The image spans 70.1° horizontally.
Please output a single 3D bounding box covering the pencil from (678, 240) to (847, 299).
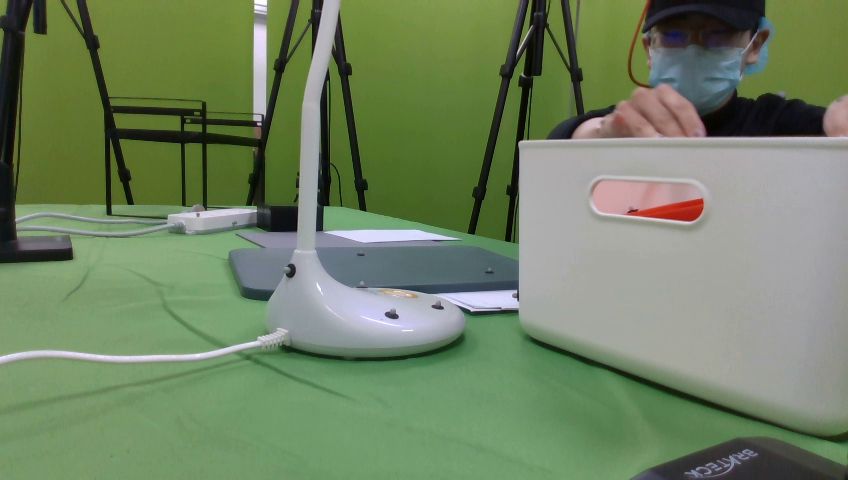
[{"bbox_3d":[0.249,0.017,0.464,0.012,0.012,0.193,1,9,-8],"label":"pencil"}]

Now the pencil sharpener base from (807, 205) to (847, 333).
[{"bbox_3d":[0.385,0.026,0.518,0.062,0.107,0.076,-4,10,-43],"label":"pencil sharpener base"}]

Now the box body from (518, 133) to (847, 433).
[{"bbox_3d":[0.278,0.005,0.485,0.366,0.160,0.253,-3,9,-36],"label":"box body"}]

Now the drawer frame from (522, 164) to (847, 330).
[{"bbox_3d":[0.224,0.002,0.466,0.215,0.082,0.200,-13,1,-36],"label":"drawer frame"}]

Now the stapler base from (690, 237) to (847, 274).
[{"bbox_3d":[0.271,0.012,0.488,0.041,0.024,0.130,-14,2,-19],"label":"stapler base"}]

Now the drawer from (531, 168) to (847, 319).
[{"bbox_3d":[0.225,0.003,0.469,0.213,0.073,0.193,-12,0,-36],"label":"drawer"}]

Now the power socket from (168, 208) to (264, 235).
[{"bbox_3d":[-0.381,-0.038,1.129,0.072,0.032,0.227,4,8,17],"label":"power socket"}]

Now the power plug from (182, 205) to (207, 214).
[{"bbox_3d":[-0.456,-0.041,1.195,0.052,0.035,0.072,0,40,24],"label":"power plug"}]

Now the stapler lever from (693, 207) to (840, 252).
[{"bbox_3d":[0.267,-0.011,0.486,0.027,0.040,0.117,-14,1,-19],"label":"stapler lever"}]

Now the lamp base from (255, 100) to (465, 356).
[{"bbox_3d":[-0.051,-0.014,0.466,0.160,0.180,0.180,7,11,34],"label":"lamp base"}]

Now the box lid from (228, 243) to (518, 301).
[{"bbox_3d":[-0.044,0.033,0.756,0.373,0.015,0.262,-1,9,-22],"label":"box lid"}]
